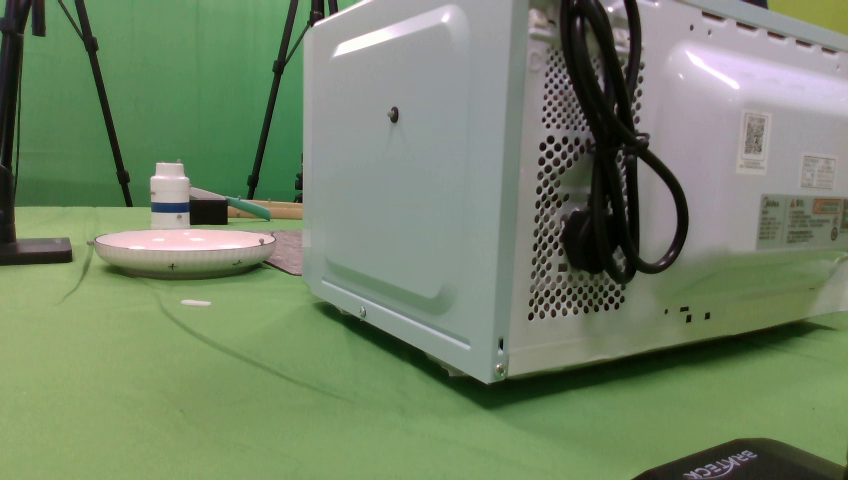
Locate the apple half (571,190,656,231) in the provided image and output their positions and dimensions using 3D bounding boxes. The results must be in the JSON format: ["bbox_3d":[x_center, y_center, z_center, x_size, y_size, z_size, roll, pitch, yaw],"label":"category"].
[{"bbox_3d":[0.182,-0.031,0.582,0.081,0.033,0.081,13,-3,1],"label":"apple half"}]

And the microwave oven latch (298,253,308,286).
[{"bbox_3d":[-0.081,0.028,0.582,0.079,0.029,0.030,-2,7,-33],"label":"microwave oven latch"}]

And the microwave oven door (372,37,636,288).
[{"bbox_3d":[0.110,-0.080,0.686,0.358,0.243,0.039,-2,9,-33],"label":"microwave oven door"}]

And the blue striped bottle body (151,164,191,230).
[{"bbox_3d":[-0.439,-0.071,1.052,0.063,0.120,0.063,2,8,0],"label":"blue striped bottle body"}]

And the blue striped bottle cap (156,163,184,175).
[{"bbox_3d":[-0.439,-0.122,1.045,0.044,0.020,0.044,7,8,-1],"label":"blue striped bottle cap"}]

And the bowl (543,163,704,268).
[{"bbox_3d":[0.181,-0.021,0.584,0.151,0.077,0.151,13,7,-1],"label":"bowl"}]

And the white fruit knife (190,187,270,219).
[{"bbox_3d":[-0.413,-0.081,1.270,0.208,0.027,0.016,17,13,-41],"label":"white fruit knife"}]

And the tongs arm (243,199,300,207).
[{"bbox_3d":[-0.309,-0.079,1.486,0.385,0.026,0.051,3,7,-1],"label":"tongs arm"}]

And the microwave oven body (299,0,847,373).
[{"bbox_3d":[0.152,-0.055,0.542,0.444,0.260,0.324,-2,7,-33],"label":"microwave oven body"}]

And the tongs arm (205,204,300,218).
[{"bbox_3d":[-0.302,-0.065,1.406,0.389,0.028,0.028,1,4,-15],"label":"tongs arm"}]

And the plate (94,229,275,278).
[{"bbox_3d":[-0.291,0.016,0.749,0.208,0.039,0.207,2,7,0],"label":"plate"}]

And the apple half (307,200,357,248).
[{"bbox_3d":[-0.136,-0.024,0.942,0.053,0.074,0.081,15,10,38],"label":"apple half"}]
